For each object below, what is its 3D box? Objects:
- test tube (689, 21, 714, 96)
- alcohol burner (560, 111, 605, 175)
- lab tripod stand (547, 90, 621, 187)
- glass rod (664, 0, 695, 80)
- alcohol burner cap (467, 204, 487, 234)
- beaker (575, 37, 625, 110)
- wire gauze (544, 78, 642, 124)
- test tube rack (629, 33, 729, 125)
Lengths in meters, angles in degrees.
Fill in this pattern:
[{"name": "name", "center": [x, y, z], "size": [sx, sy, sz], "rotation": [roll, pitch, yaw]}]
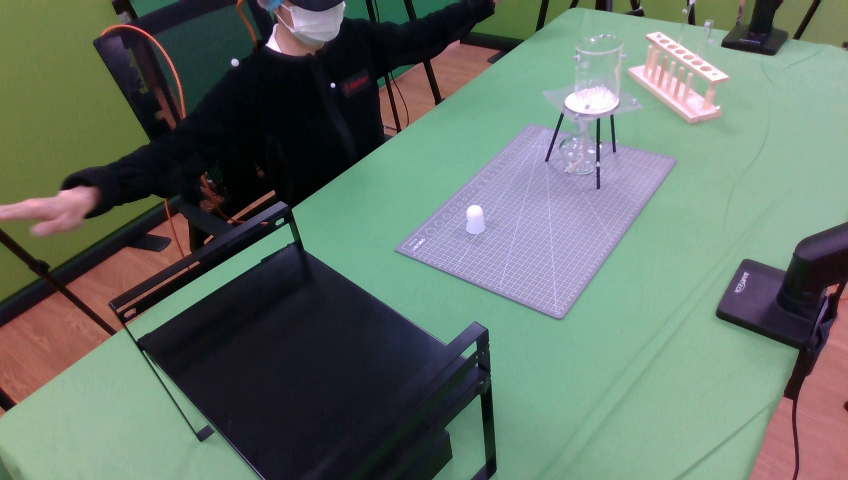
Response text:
[{"name": "test tube", "center": [0.541, -0.353, 1.184], "size": [0.017, 0.151, 0.017], "rotation": [-2, 40, 2]}, {"name": "alcohol burner", "center": [0.281, -0.176, 1.070], "size": [0.078, 0.119, 0.077], "rotation": [-4, 43, 5]}, {"name": "lab tripod stand", "center": [0.289, -0.184, 1.062], "size": [0.148, 0.132, 0.147], "rotation": [-6, 41, 6]}, {"name": "glass rod", "center": [0.523, -0.415, 1.235], "size": [0.008, 0.200, 0.008], "rotation": [1, 46, 0]}, {"name": "alcohol burner cap", "center": [0.085, -0.037, 0.993], "size": [0.034, 0.048, 0.033], "rotation": [-4, 41, 4]}, {"name": "beaker", "center": [0.283, -0.271, 0.988], "size": [0.074, 0.101, 0.083], "rotation": [-10, 39, 1]}, {"name": "wire gauze", "center": [0.282, -0.234, 1.021], "size": [0.125, 0.011, 0.120], "rotation": [-17, 38, -4]}, {"name": "test tube rack", "center": [0.516, -0.337, 1.247], "size": [0.067, 0.085, 0.240], "rotation": [-14, 41, -7]}]
